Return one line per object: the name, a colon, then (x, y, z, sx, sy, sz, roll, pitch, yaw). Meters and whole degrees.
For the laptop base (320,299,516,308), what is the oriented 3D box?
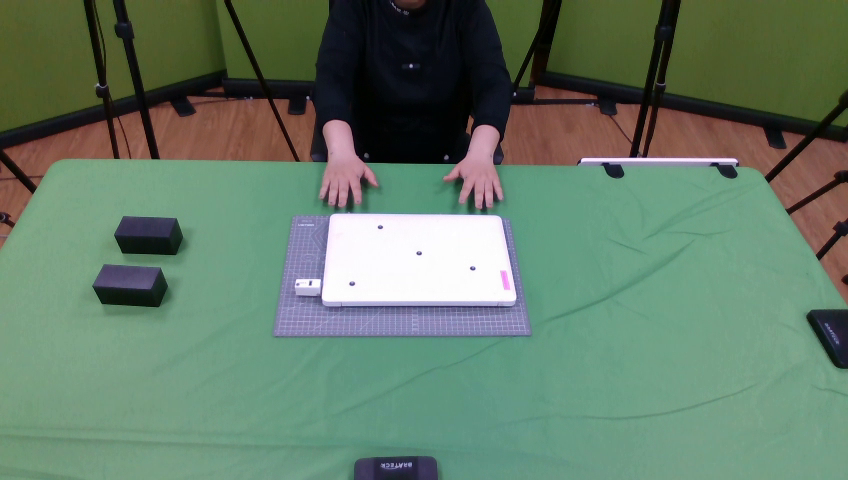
laptop base: (-0.013, 0.039, 1.160, 0.355, 0.023, 0.234, 0, 43, -4)

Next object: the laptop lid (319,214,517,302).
laptop lid: (-0.013, 0.029, 1.154, 0.357, 0.013, 0.240, 2, 43, -3)

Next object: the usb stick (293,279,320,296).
usb stick: (-0.202, 0.086, 1.083, 0.059, 0.027, 0.021, 3, 46, -5)
